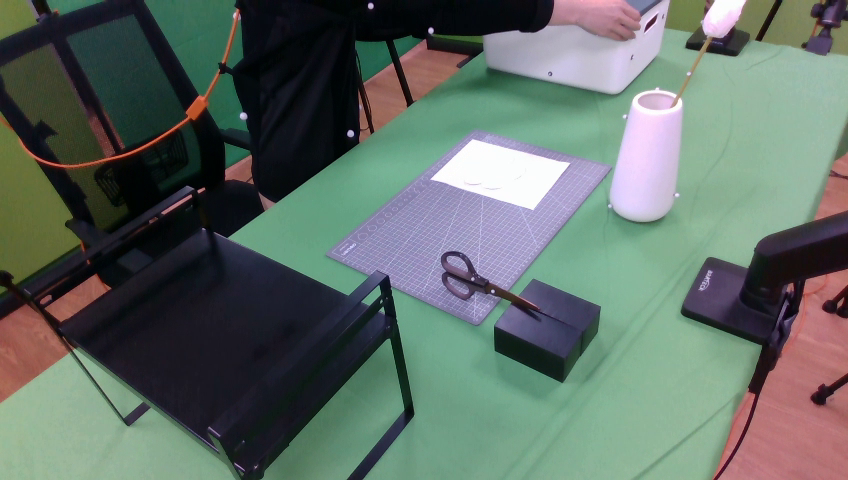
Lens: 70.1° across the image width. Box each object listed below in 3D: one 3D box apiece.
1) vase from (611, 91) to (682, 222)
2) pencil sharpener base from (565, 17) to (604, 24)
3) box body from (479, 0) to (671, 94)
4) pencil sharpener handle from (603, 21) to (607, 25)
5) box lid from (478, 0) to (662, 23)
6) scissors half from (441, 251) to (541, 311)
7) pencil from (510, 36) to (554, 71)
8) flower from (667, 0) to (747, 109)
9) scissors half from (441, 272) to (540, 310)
[{"bbox_3d":[0.348,-0.125,0.935,0.098,0.201,0.097,-3,40,3],"label":"vase"},{"bbox_3d":[0.364,-0.457,1.382,0.077,0.107,0.061,-14,40,-9],"label":"pencil sharpener base"},{"bbox_3d":[0.339,-0.480,1.381,0.361,0.161,0.255,22,48,30],"label":"box body"},{"bbox_3d":[0.412,-0.477,1.382,0.031,0.068,0.035,-14,37,-9],"label":"pencil sharpener handle"},{"bbox_3d":[0.332,-0.539,1.329,0.368,0.015,0.264,21,45,31],"label":"box lid"},{"bbox_3d":[0.087,0.056,0.824,0.173,0.040,0.013,30,43,35],"label":"scissors half"},{"bbox_3d":[0.263,-0.453,1.469,0.012,0.012,0.194,25,52,32],"label":"pencil"},{"bbox_3d":[0.354,-0.187,0.879,0.038,0.362,0.044,30,48,14],"label":"flower"},{"bbox_3d":[0.089,0.075,0.832,0.013,0.040,0.173,-23,22,-39],"label":"scissors half"}]
